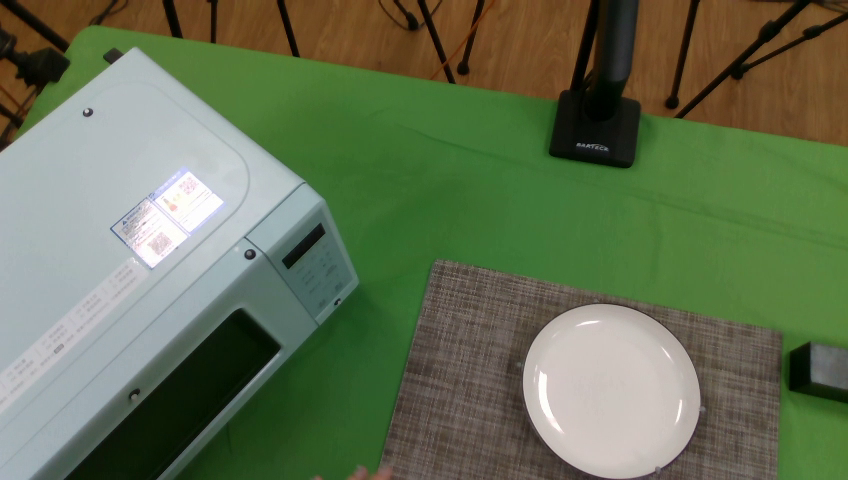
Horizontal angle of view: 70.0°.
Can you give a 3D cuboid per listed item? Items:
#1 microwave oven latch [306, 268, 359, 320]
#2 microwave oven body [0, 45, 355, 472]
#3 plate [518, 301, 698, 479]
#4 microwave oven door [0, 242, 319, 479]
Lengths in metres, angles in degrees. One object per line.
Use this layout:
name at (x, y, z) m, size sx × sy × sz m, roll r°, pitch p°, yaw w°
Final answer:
microwave oven latch at (-0.118, 0.064, 0.778) m, size 0.030 × 0.030 × 0.079 m, roll 40°, pitch 74°, yaw 17°
microwave oven body at (-0.352, 0.063, 0.684) m, size 0.324 × 0.262 × 0.441 m, roll 38°, pitch 74°, yaw 17°
plate at (0.216, 0.177, 0.726) m, size 0.207 × 0.039 × 0.206 m, roll -1°, pitch 66°, yaw 2°
microwave oven door at (-0.269, 0.176, 0.625) m, size 0.039 × 0.245 × 0.355 m, roll 37°, pitch 73°, yaw 18°
